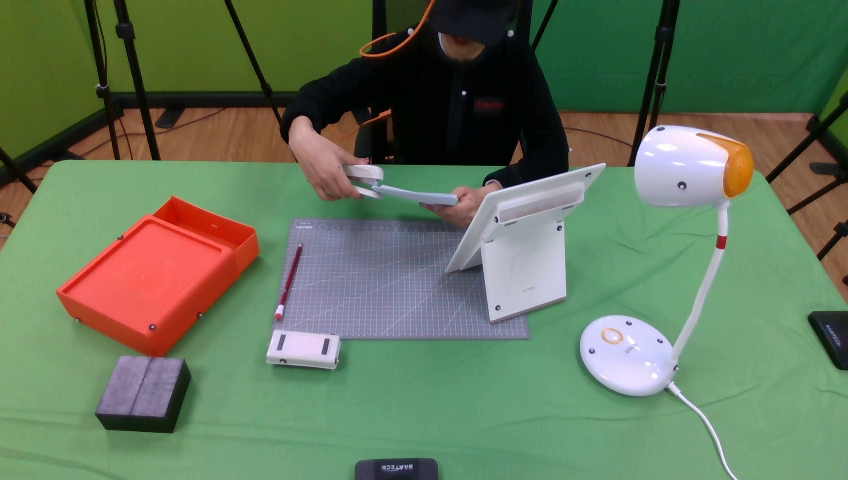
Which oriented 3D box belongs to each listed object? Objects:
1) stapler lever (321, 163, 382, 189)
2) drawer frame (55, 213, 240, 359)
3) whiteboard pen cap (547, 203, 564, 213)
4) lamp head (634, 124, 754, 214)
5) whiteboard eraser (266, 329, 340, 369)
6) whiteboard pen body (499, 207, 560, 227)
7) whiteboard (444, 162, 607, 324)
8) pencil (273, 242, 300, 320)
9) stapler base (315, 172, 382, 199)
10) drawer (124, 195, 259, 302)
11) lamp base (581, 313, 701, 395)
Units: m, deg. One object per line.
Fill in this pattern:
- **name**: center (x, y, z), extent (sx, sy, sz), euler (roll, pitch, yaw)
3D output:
- **stapler lever**: center (-0.134, -0.129, 1.133), extent (0.118, 0.027, 0.040), euler (19, 93, 16)
- **drawer frame**: center (-0.469, 0.072, 1.050), extent (0.201, 0.083, 0.213), euler (21, 49, 14)
- **whiteboard pen cap**: center (0.277, -0.066, 1.275), extent (0.033, 0.018, 0.018), euler (-18, 50, -15)
- **lamp head**: center (0.351, -0.089, 0.776), extent (0.112, 0.113, 0.122), euler (-30, 30, -28)
- **whiteboard eraser**: center (-0.198, 0.181, 0.994), extent (0.113, 0.042, 0.055), euler (5, 45, 1)
- **whiteboard pen body**: center (0.222, -0.051, 1.259), extent (0.141, 0.017, 0.017), euler (-15, 49, -15)
- **whiteboard**: center (0.186, 0.025, 1.029), extent (0.217, 0.306, 0.143), euler (-15, 68, -18)
- **pencil**: center (-0.249, 0.071, 1.115), extent (0.012, 0.012, 0.193), euler (5, 43, 1)
- **stapler base**: center (-0.139, -0.107, 1.135), extent (0.130, 0.041, 0.024), euler (17, 92, 16)
- **drawer**: center (-0.442, 0.032, 1.092), extent (0.194, 0.073, 0.211), euler (21, 49, 15)
- **lamp base**: center (0.361, 0.144, 0.973), extent (0.178, 0.181, 0.160), euler (34, 53, 23)
